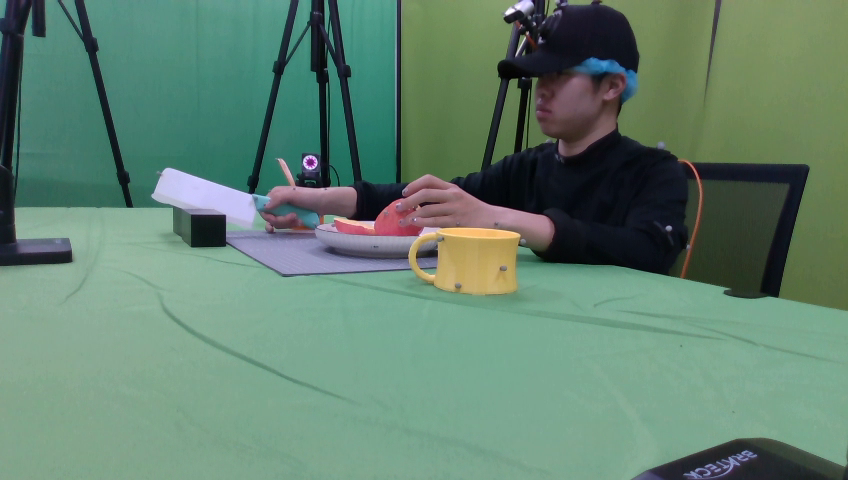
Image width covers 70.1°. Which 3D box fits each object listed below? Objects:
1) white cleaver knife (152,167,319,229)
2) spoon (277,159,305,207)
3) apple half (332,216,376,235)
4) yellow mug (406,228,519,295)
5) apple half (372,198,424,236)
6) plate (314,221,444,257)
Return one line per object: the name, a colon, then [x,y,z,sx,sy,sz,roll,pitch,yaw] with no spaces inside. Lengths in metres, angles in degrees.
white cleaver knife: [-0.316,-0.056,1.049,0.288,0.066,0.021,16,-5,-30]
spoon: [-0.272,-0.103,1.260,0.042,0.193,0.021,-5,-34,-33]
apple half: [-0.110,-0.012,0.972,0.081,0.033,0.081,16,7,-2]
yellow mug: [0.044,0.022,0.706,0.131,0.064,0.100,2,7,5]
apple half: [-0.035,-0.021,0.931,0.074,0.053,0.081,-38,-17,10]
plate: [-0.067,-0.002,0.948,0.209,0.038,0.209,3,7,0]
